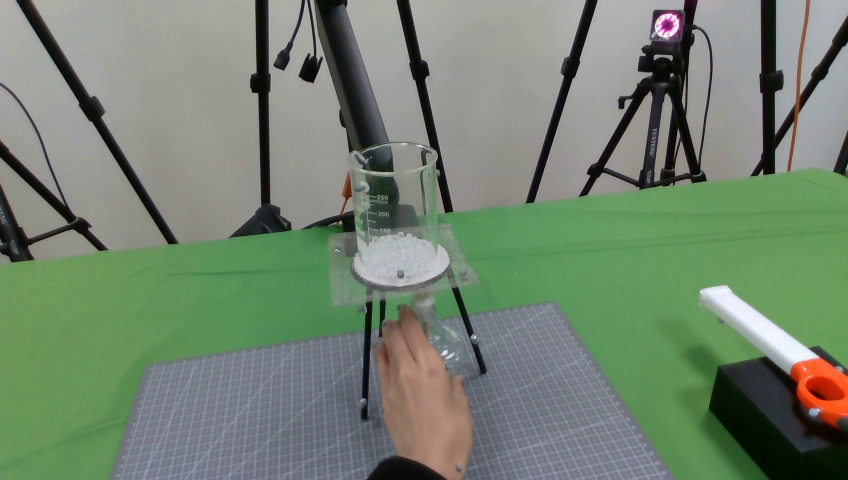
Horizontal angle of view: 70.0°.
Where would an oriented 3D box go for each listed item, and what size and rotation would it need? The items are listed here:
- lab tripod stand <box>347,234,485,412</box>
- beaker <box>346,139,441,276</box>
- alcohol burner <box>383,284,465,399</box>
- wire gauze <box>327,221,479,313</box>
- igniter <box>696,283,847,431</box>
[{"bbox_3d":[-0.016,0.071,0.571,0.148,0.132,0.147,-1,28,1],"label":"lab tripod stand"},{"bbox_3d":[-0.026,-0.027,0.513,0.074,0.101,0.083,-26,37,-37],"label":"beaker"},{"bbox_3d":[0.000,0.088,0.560,0.078,0.120,0.077,-1,31,1],"label":"alcohol burner"},{"bbox_3d":[-0.024,0.016,0.535,0.121,0.011,0.124,-8,32,-7],"label":"wire gauze"},{"bbox_3d":[0.315,0.109,0.491,0.057,0.025,0.274,-9,26,-9],"label":"igniter"}]
